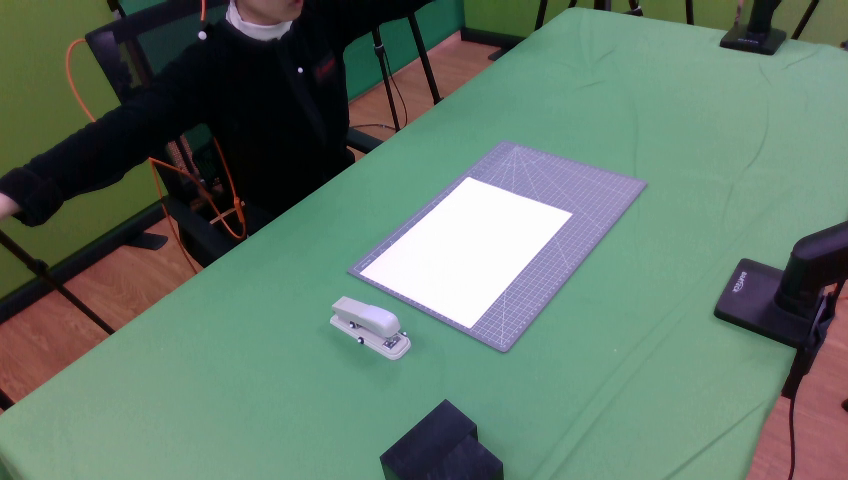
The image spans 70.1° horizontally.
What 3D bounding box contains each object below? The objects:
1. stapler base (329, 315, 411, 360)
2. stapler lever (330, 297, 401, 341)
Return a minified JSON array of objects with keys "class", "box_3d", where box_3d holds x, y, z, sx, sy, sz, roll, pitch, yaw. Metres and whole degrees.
[{"class":"stapler base","box_3d":[-0.077,0.122,0.841,0.129,0.024,0.041,22,46,33]},{"class":"stapler lever","box_3d":[-0.081,0.102,0.825,0.117,0.040,0.027,22,46,33]}]
